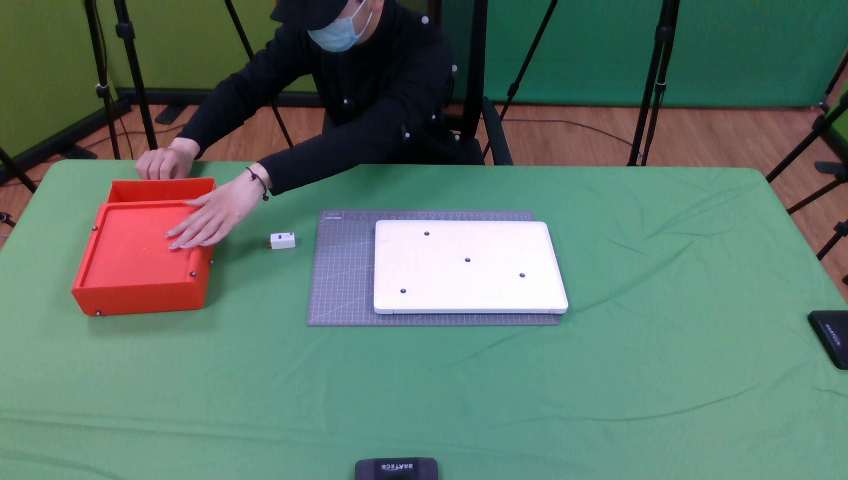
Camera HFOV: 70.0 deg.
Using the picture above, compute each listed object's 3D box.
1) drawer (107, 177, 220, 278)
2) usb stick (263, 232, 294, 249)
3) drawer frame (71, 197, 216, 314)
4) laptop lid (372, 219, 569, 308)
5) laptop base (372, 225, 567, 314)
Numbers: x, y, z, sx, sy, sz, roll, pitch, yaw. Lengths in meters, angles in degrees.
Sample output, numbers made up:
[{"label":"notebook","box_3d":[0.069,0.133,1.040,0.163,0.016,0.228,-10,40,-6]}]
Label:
[{"label":"drawer","box_3d":[-0.502,-0.024,1.143,0.195,0.073,0.210,-2,47,-7]},{"label":"usb stick","box_3d":[-0.282,0.001,1.173,0.059,0.027,0.021,-7,48,-6]},{"label":"drawer frame","box_3d":[-0.494,0.023,1.096,0.202,0.083,0.212,-3,47,-8]},{"label":"laptop lid","box_3d":[0.081,0.039,1.152,0.357,0.013,0.240,2,44,-3]},{"label":"laptop base","box_3d":[0.080,0.049,1.158,0.355,0.023,0.234,0,43,-4]}]
